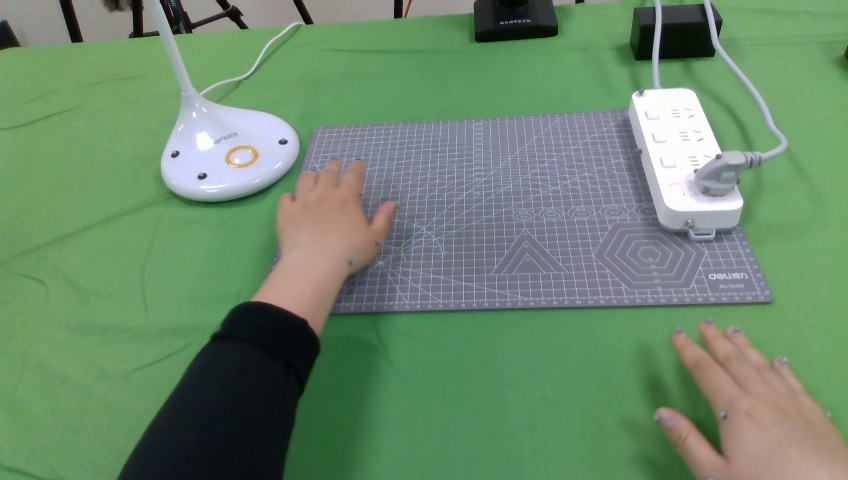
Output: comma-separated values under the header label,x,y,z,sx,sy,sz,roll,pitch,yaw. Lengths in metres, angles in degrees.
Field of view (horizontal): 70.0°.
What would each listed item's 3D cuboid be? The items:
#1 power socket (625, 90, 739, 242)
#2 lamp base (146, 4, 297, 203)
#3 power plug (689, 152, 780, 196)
label,x,y,z,sx,sy,sz,roll,pitch,yaw
power socket,0.261,-0.088,0.629,0.072,0.033,0.224,0,45,6
lamp base,-0.247,-0.158,0.669,0.177,0.182,0.160,28,54,34
power plug,0.283,-0.053,0.558,0.072,0.053,0.035,8,46,13
